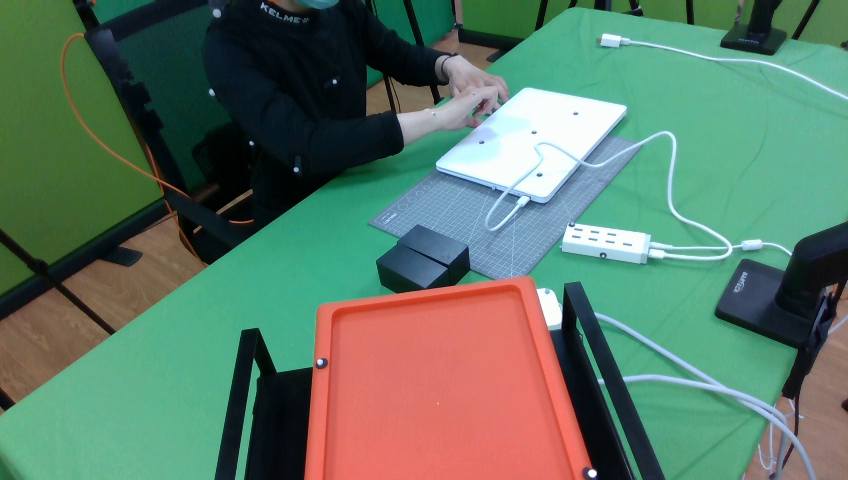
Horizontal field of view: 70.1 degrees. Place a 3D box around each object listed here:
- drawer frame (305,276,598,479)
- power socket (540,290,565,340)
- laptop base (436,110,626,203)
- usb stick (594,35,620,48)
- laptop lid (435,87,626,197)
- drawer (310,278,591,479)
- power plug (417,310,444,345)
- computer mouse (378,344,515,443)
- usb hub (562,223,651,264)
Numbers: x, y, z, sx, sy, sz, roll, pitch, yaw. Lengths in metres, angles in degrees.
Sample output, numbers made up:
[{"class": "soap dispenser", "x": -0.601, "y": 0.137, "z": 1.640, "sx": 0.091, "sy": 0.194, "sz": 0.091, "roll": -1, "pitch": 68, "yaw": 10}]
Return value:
[{"class": "drawer frame", "x": 0.014, "y": 0.137, "z": 0.486, "sx": 0.202, "sy": 0.083, "sz": 0.212, "roll": -8, "pitch": 41, "yaw": -1}, {"class": "power socket", "x": 0.081, "y": 0.112, "z": 0.822, "sx": 0.227, "sy": 0.033, "sz": 0.072, "roll": -6, "pitch": 41, "yaw": 0}, {"class": "laptop base", "x": 0.214, "y": -0.193, "z": 1.172, "sx": 0.233, "sy": 0.023, "sz": 0.355, "roll": 19, "pitch": 46, "yaw": 32}, {"class": "usb stick", "x": 0.444, "y": -0.482, "z": 1.466, "sx": 0.059, "sy": 0.021, "sz": 0.027, "roll": 9, "pitch": 43, "yaw": 9}, {"class": "laptop lid", "x": 0.211, "y": -0.204, "z": 1.164, "sx": 0.240, "sy": 0.013, "sz": 0.358, "roll": 22, "pitch": 48, "yaw": 31}, {"class": "drawer", "x": 0.013, "y": 0.137, "z": 0.489, "sx": 0.195, "sy": 0.073, "sz": 0.210, "roll": -7, "pitch": 41, "yaw": 0}, {"class": "power plug", "x": 0.007, "y": 0.122, "z": 0.785, "sx": 0.035, "sy": 0.053, "sz": 0.072, "roll": 0, "pitch": 39, "yaw": 7}, {"class": "computer mouse", "x": 0.018, "y": 0.126, "z": 0.521, "sx": 0.116, "sy": 0.041, "sz": 0.063, "roll": 13, "pitch": 47, "yaw": 30}, {"class": "usb hub", "x": 0.279, "y": 0.004, "z": 0.926, "sx": 0.124, "sy": 0.025, "sz": 0.049, "roll": 10, "pitch": 43, "yaw": 19}]
